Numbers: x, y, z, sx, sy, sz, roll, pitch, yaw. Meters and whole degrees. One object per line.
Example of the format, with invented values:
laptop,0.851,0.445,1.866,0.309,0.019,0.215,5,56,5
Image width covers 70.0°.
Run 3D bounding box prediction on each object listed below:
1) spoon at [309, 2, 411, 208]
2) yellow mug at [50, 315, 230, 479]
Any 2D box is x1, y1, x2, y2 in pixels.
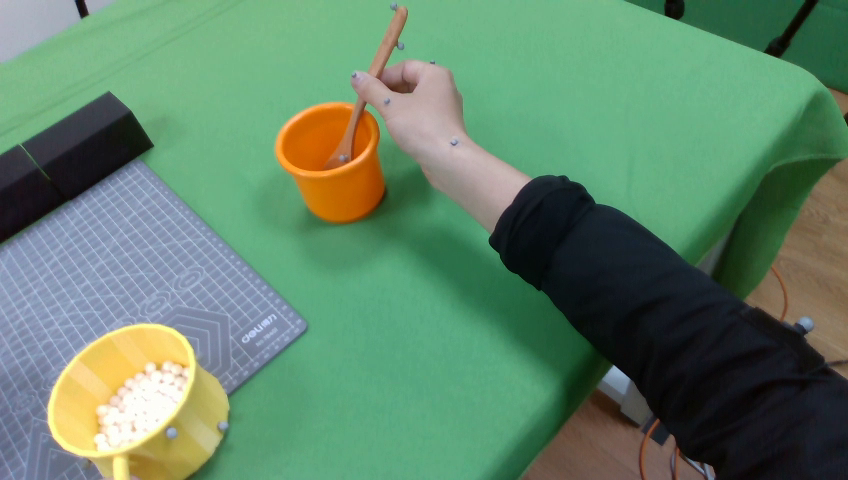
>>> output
spoon,-0.055,-0.115,0.533,0.041,0.194,0.022,34,21,22
yellow mug,-0.194,0.123,0.421,0.100,0.064,0.129,-16,50,-5
